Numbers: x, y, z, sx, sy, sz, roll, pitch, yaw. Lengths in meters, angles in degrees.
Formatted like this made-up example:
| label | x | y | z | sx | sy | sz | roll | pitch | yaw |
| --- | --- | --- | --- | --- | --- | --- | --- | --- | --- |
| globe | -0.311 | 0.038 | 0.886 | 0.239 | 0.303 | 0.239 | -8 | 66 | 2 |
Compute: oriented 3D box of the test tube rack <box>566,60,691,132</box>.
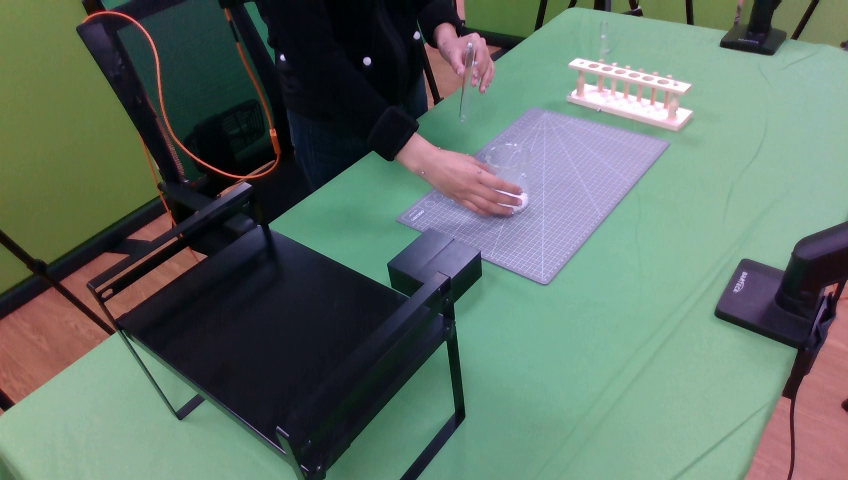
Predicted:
| label | x | y | z | sx | sy | sz | roll | pitch | yaw |
| --- | --- | --- | --- | --- | --- | --- | --- | --- | --- |
| test tube rack | 0.411 | -0.300 | 1.217 | 0.240 | 0.085 | 0.067 | 26 | 51 | 33 |

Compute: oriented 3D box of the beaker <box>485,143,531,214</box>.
| label | x | y | z | sx | sy | sz | roll | pitch | yaw |
| --- | --- | --- | --- | --- | --- | --- | --- | --- | --- |
| beaker | 0.143 | -0.101 | 1.009 | 0.073 | 0.101 | 0.084 | 22 | 48 | 30 |

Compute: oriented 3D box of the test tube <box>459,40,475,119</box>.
| label | x | y | z | sx | sy | sz | roll | pitch | yaw |
| --- | --- | --- | --- | --- | --- | --- | --- | --- | --- |
| test tube | 0.077 | -0.282 | 1.077 | 0.017 | 0.150 | 0.017 | 2 | 42 | -2 |

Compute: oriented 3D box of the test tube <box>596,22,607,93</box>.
| label | x | y | z | sx | sy | sz | roll | pitch | yaw |
| --- | --- | --- | --- | --- | --- | --- | --- | --- | --- |
| test tube | 0.363 | -0.372 | 1.240 | 0.017 | 0.151 | 0.017 | -6 | 40 | 5 |
